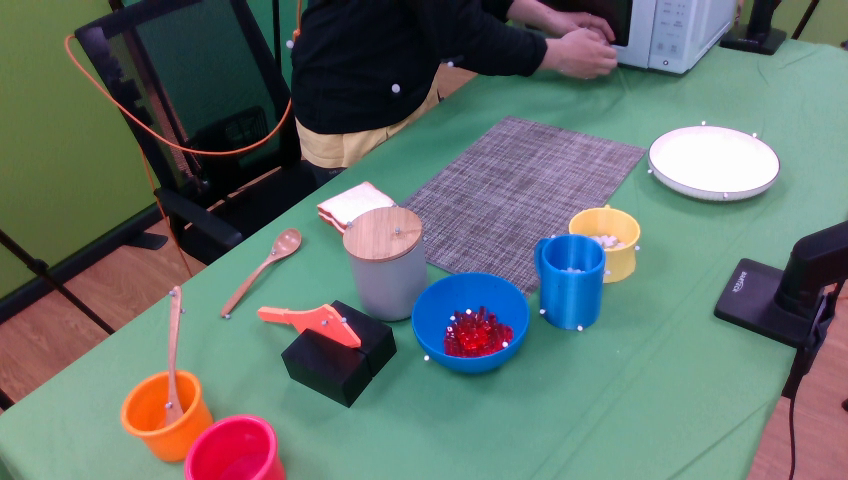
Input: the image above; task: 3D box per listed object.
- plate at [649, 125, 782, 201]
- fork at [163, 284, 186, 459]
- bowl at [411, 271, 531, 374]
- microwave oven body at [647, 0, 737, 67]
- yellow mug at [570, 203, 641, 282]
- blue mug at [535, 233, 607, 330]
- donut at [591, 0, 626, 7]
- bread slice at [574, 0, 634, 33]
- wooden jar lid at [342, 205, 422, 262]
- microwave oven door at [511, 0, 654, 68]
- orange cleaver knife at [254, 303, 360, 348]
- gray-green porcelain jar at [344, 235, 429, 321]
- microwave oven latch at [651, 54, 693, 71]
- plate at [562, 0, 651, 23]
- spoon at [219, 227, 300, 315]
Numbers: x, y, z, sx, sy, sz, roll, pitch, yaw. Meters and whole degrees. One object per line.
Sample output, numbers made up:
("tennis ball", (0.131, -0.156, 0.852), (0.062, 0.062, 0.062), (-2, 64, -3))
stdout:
("plate", (0.493, -0.128, 1.036), (0.207, 0.039, 0.206), (-4, 41, 4))
("fork", (-0.302, 0.157, 0.733), (0.028, 0.019, 0.207), (-3, 84, 14))
("bowl", (0.062, 0.119, 0.780), (0.151, 0.077, 0.150), (-4, 40, 4))
("microwave oven body", (0.475, -0.602, 1.412), (0.438, 0.261, 0.327), (23, 50, 32))
("yellow mug", (0.268, -0.005, 0.904), (0.099, 0.064, 0.130), (7, 42, 15))
("blue mug", (0.191, 0.048, 0.824), (0.082, 0.106, 0.115), (-26, 44, -20))
("donut", (0.437, -0.589, 1.432), (0.099, 0.048, 0.098), (-3, 53, 4))
("bread slice", (0.432, -0.565, 1.475), (0.105, 0.019, 0.130), (-31, 67, -22))
("wooden jar lid", (-0.055, -0.006, 0.808), (0.108, 0.021, 0.108), (-6, 40, 6))
("microwave oven door", (0.348, -0.537, 1.347), (0.353, 0.245, 0.039), (25, 51, 32))
("orange cleaver knife", (-0.161, 0.115, 0.813), (0.210, 0.077, 0.012), (-4, 33, 46))
("gray-green porcelain jar", (-0.049, 0.042, 0.849), (0.106, 0.127, 0.105), (-4, 41, 4))
("microwave oven latch", (0.532, -0.386, 1.302), (0.078, 0.029, 0.030), (26, 51, 33))
("plate", (0.439, -0.573, 1.456), (0.209, 0.038, 0.208), (-6, 44, 6))
("spoon", (-0.260, 0.046, 0.954), (0.041, 0.021, 0.194), (27, 48, 10))
